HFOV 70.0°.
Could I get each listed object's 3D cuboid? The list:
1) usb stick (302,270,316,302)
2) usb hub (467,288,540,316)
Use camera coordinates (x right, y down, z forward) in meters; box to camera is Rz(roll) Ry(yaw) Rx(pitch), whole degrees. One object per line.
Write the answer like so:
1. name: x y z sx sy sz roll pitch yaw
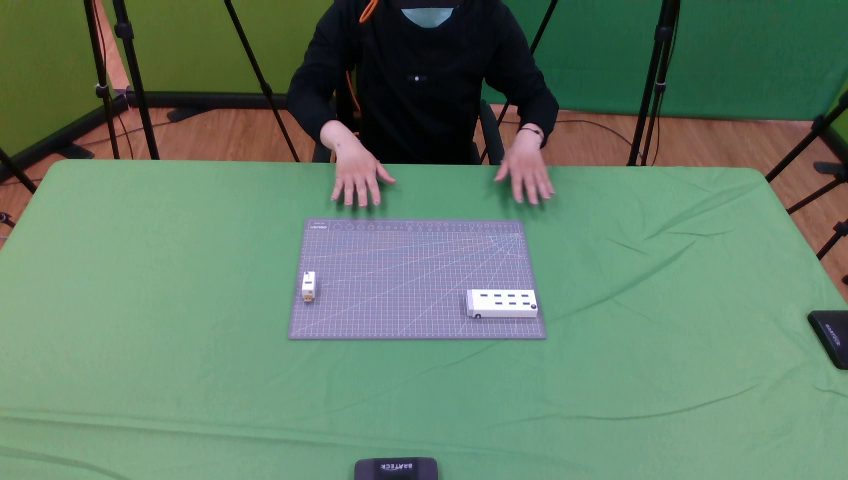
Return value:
1. usb stick: -0.207 0.085 1.092 0.021 0.027 0.059 1 49 -5
2. usb hub: 0.142 0.112 1.089 0.125 0.025 0.049 0 46 -2
